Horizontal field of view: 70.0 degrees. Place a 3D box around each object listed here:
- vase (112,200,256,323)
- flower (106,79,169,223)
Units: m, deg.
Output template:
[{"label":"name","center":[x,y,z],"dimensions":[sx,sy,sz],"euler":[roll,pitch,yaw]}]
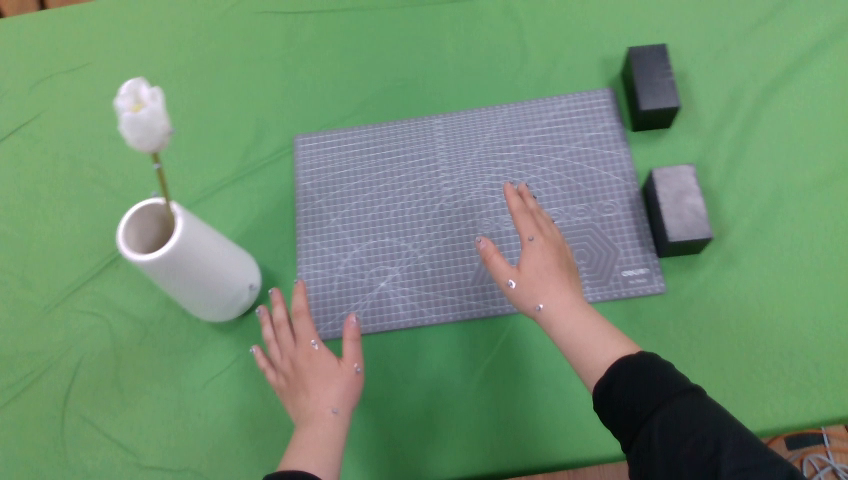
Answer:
[{"label":"vase","center":[-0.265,0.027,0.689],"dimensions":[0.098,0.201,0.097],"euler":[-2,67,4]},{"label":"flower","center":[-0.259,-0.014,0.616],"dimensions":[0.038,0.364,0.043],"euler":[-20,62,-22]}]
